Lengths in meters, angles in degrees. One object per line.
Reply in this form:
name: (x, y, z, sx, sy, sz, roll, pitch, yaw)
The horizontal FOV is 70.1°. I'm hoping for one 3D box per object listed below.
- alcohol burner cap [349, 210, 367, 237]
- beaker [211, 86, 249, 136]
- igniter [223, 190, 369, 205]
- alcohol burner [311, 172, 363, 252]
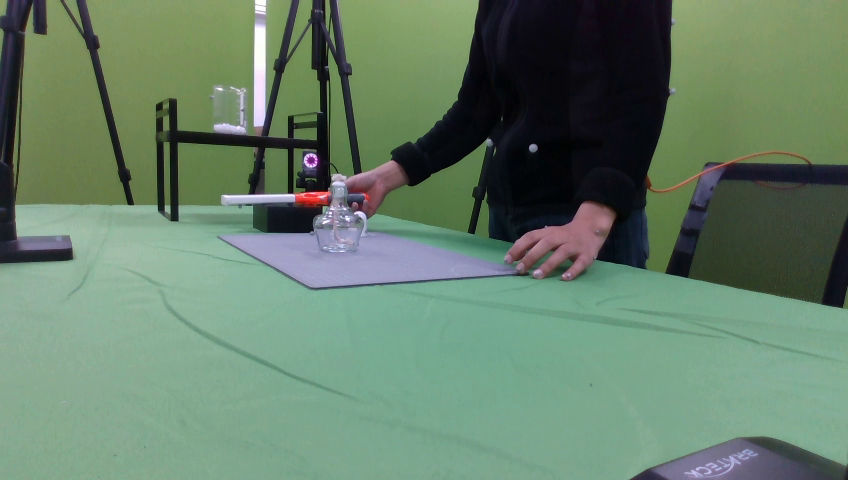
alcohol burner cap: (-0.118, -0.030, 1.095, 0.034, 0.048, 0.034, 2, 8, 0)
beaker: (-0.413, -0.274, 1.297, 0.074, 0.100, 0.083, -5, 11, -44)
igniter: (-0.240, -0.080, 1.160, 0.278, 0.025, 0.057, -3, 10, -26)
alcohol burner: (-0.130, -0.042, 0.906, 0.078, 0.119, 0.078, 2, 6, 0)
